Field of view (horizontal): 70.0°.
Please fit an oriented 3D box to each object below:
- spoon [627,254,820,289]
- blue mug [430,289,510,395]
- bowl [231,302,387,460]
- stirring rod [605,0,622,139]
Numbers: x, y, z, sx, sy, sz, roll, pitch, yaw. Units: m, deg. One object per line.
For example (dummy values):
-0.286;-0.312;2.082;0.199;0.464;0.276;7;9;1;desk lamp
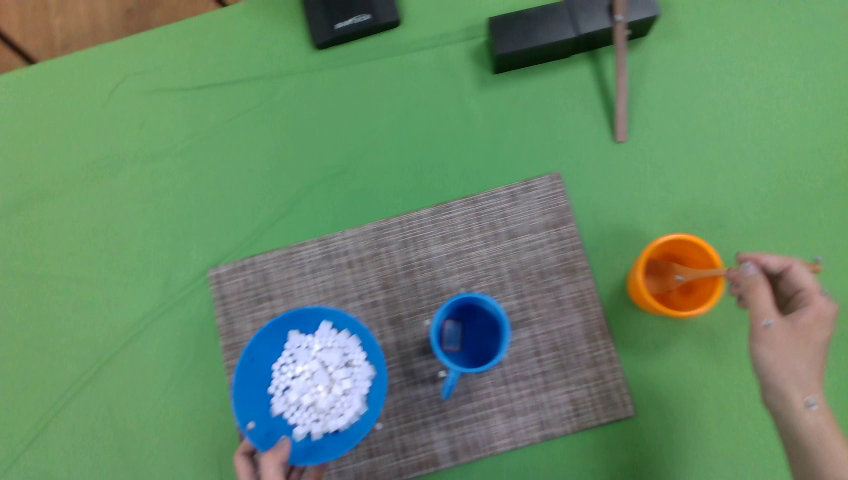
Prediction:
0.310;0.031;0.646;0.022;0.193;0.041;15;76;-39;spoon
0.044;0.115;0.664;0.082;0.106;0.116;22;82;7;blue mug
-0.110;0.145;0.621;0.151;0.077;0.150;0;73;1;bowl
0.230;-0.212;0.733;0.014;0.006;0.176;-7;101;-3;stirring rod
